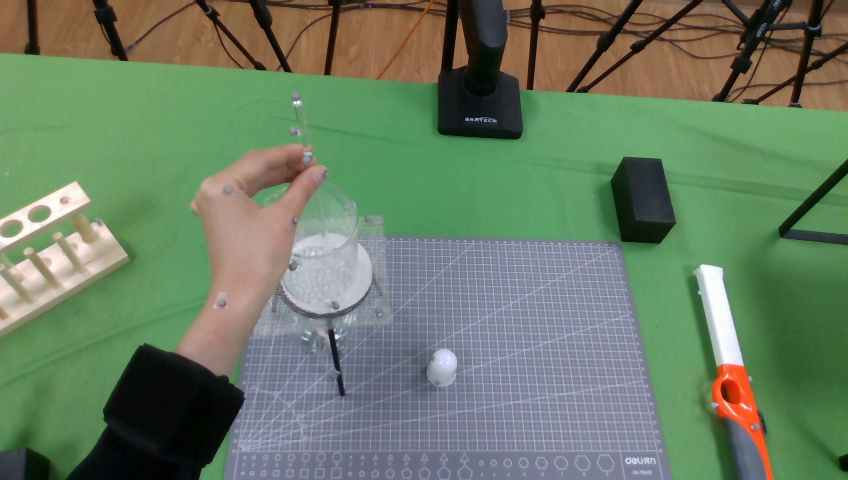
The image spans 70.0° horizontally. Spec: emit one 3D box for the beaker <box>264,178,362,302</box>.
[{"bbox_3d":[-0.095,0.003,0.524,0.084,0.101,0.073,24,60,8],"label":"beaker"}]

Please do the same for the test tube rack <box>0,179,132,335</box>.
[{"bbox_3d":[-0.448,0.042,0.632,0.242,0.086,0.066,-36,68,-23],"label":"test tube rack"}]

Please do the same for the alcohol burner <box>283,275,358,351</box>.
[{"bbox_3d":[-0.108,0.069,0.629,0.078,0.120,0.077,4,57,-5],"label":"alcohol burner"}]

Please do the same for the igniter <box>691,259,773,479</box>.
[{"bbox_3d":[0.342,0.145,0.680,0.057,0.025,0.274,9,59,-12],"label":"igniter"}]

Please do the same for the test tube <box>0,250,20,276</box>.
[{"bbox_3d":[-0.442,-0.006,0.604,0.017,0.151,0.017,3,54,-4],"label":"test tube"}]

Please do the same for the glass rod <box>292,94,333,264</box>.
[{"bbox_3d":[-0.087,-0.037,0.479,0.008,0.201,0.008,1,55,-1],"label":"glass rod"}]

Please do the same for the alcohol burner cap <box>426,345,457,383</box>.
[{"bbox_3d":[0.020,0.130,0.647,0.034,0.048,0.033,2,59,-3],"label":"alcohol burner cap"}]

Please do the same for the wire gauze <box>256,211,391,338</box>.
[{"bbox_3d":[-0.095,0.027,0.568,0.121,0.011,0.124,-4,63,-6],"label":"wire gauze"}]

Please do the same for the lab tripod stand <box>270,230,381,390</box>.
[{"bbox_3d":[-0.097,0.064,0.621,0.148,0.132,0.147,3,59,-5],"label":"lab tripod stand"}]
